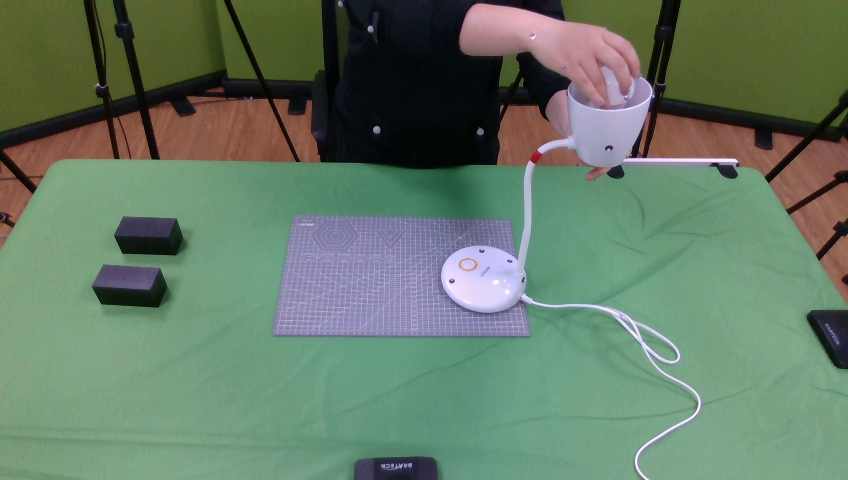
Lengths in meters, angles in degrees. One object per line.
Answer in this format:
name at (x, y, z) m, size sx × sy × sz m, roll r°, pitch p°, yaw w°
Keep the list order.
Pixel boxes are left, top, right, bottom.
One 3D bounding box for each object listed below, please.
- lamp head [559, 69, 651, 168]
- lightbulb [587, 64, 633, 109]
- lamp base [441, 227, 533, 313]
lamp head at (0.251, -0.164, 0.860) m, size 0.112 × 0.123 × 0.111 m, roll 0°, pitch 43°, yaw 0°
lightbulb at (0.255, -0.191, 0.841) m, size 0.059 × 0.108 × 0.059 m, roll -4°, pitch 40°, yaw 3°
lamp base at (0.126, 0.022, 1.072) m, size 0.179 × 0.181 × 0.160 m, roll 23°, pitch 49°, yaw 14°
